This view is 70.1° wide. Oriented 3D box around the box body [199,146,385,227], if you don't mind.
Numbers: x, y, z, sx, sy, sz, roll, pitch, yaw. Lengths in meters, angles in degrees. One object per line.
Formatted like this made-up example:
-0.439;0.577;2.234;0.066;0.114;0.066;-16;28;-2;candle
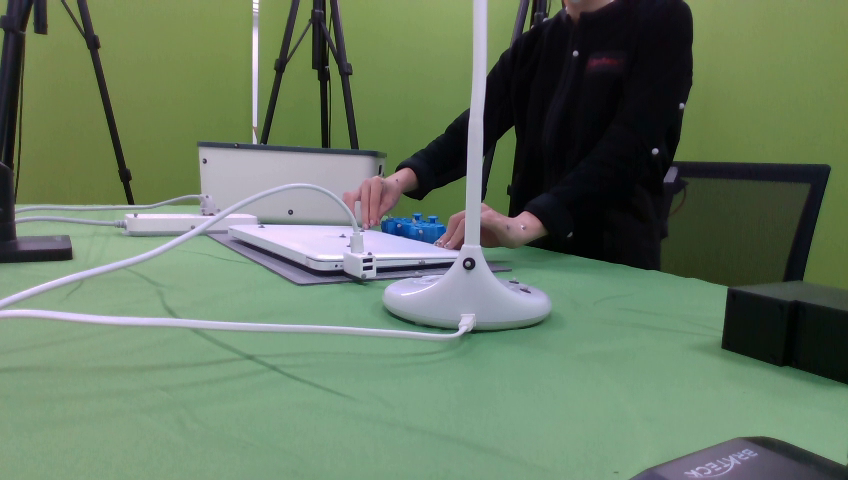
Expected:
-0.276;-0.124;1.334;0.364;0.160;0.254;3;7;1;box body

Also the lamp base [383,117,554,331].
0.045;-0.019;0.547;0.161;0.180;0.179;2;10;-4;lamp base

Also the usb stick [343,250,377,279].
-0.076;0.026;0.687;0.021;0.027;0.059;-8;8;-31;usb stick

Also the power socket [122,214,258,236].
-0.398;-0.028;1.049;0.228;0.032;0.072;-3;8;-34;power socket

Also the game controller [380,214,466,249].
-0.007;-0.017;1.039;0.097;0.051;0.154;-4;9;-34;game controller

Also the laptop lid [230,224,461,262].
-0.120;-0.001;0.888;0.243;0.013;0.355;1;7;-33;laptop lid

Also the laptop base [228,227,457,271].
-0.122;0.011;0.889;0.237;0.023;0.352;2;6;-35;laptop base

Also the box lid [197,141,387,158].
-0.275;-0.197;1.326;0.372;0.015;0.263;4;8;1;box lid

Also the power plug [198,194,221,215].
-0.387;-0.055;1.089;0.035;0.052;0.072;-1;7;-22;power plug
